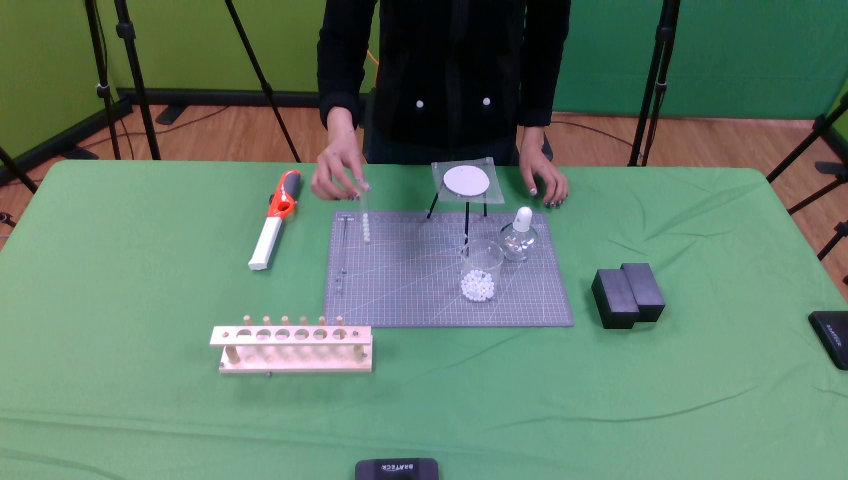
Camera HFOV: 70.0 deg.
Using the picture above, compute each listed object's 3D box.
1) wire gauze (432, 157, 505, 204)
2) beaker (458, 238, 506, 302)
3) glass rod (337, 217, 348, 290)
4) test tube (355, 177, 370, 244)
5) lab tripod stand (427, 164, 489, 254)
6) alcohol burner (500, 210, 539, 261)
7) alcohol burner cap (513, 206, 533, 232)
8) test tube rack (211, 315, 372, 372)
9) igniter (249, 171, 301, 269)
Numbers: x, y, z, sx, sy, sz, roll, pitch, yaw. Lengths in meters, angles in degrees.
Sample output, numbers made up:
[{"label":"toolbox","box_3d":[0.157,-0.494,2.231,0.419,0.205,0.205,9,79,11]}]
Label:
[{"label":"wire gauze","box_3d":[0.081,-0.112,1.137,0.125,0.011,0.120,-2,48,-6]},{"label":"beaker","box_3d":[0.099,0.057,1.093,0.084,0.101,0.073,6,46,3]},{"label":"glass rod","box_3d":[-0.158,0.021,1.171,0.008,0.008,0.198,1,43,-2]},{"label":"test tube","box_3d":[-0.101,-0.045,1.005,0.017,0.151,0.017,1,49,-1]},{"label":"lab tripod stand","box_3d":[0.078,-0.068,1.188,0.148,0.132,0.147,3,47,-3]},{"label":"alcohol burner","box_3d":[0.185,-0.016,1.159,0.078,0.119,0.077,2,48,-2]},{"label":"alcohol burner cap","box_3d":[0.186,-0.042,1.134,0.034,0.048,0.033,6,41,-5]},{"label":"test tube rack","box_3d":[-0.208,0.163,0.982,0.242,0.085,0.066,1,46,-4]},{"label":"igniter","box_3d":[-0.297,-0.049,1.220,0.057,0.025,0.275,-1,45,9]}]
